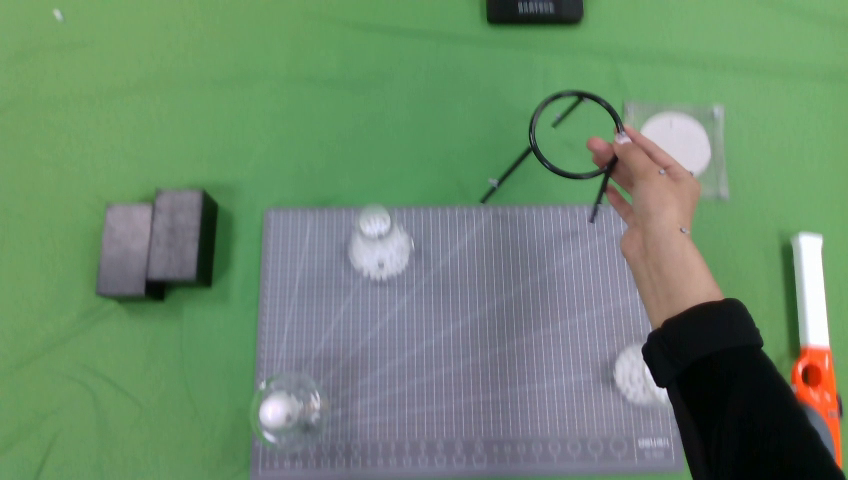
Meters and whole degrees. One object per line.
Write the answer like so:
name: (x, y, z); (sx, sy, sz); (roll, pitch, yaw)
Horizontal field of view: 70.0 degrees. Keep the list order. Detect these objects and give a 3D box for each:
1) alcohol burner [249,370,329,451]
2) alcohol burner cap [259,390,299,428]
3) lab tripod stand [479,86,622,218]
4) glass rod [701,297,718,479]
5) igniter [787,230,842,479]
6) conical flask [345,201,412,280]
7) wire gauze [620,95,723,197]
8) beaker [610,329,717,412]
alcohol burner: (-0.134, 0.164, 0.586); (0.078, 0.119, 0.077); (0, 75, 1)
alcohol burner cap: (-0.133, 0.154, 0.551); (0.034, 0.048, 0.033); (1, 79, -5)
lab tripod stand: (0.133, -0.084, 0.622); (0.148, 0.132, 0.147); (1, 78, -3)
glass rod: (0.310, 0.160, 0.656); (0.008, 0.008, 0.198); (3, 76, -1)
igniter: (0.422, 0.125, 0.658); (0.057, 0.025, 0.275); (7, 76, -11)
conical flask: (-0.050, -0.005, 0.625); (0.075, 0.122, 0.075); (0, 75, -1)
wire gauze: (0.297, -0.116, 0.725); (0.125, 0.011, 0.121); (5, 77, -2)
beaker: (0.238, 0.131, 0.612); (0.084, 0.100, 0.073); (-37, 80, -10)
